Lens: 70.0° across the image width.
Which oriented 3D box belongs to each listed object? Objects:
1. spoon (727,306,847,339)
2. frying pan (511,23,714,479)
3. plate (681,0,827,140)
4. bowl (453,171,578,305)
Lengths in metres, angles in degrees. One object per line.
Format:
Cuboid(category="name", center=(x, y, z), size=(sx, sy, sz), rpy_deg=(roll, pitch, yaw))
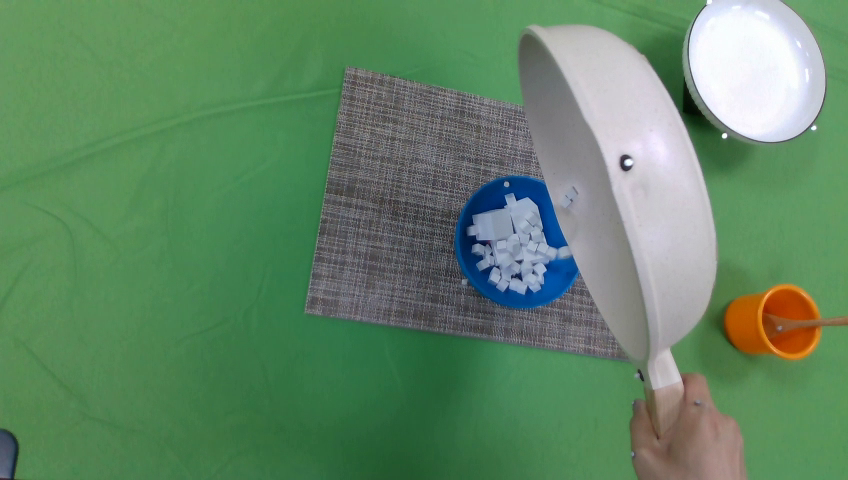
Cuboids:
Cuboid(category="spoon", center=(0.478, 0.095, 0.741), size=(0.022, 0.193, 0.041), rpy_deg=(6, 76, -57))
Cuboid(category="frying pan", center=(0.174, 0.054, 0.500), size=(0.102, 0.308, 0.486), rpy_deg=(-12, 83, 8))
Cuboid(category="plate", center=(0.422, -0.227, 0.787), size=(0.208, 0.039, 0.207), rpy_deg=(2, 82, -12))
Cuboid(category="bowl", center=(0.099, 0.003, 0.699), size=(0.152, 0.077, 0.151), rpy_deg=(2, 80, -12))
